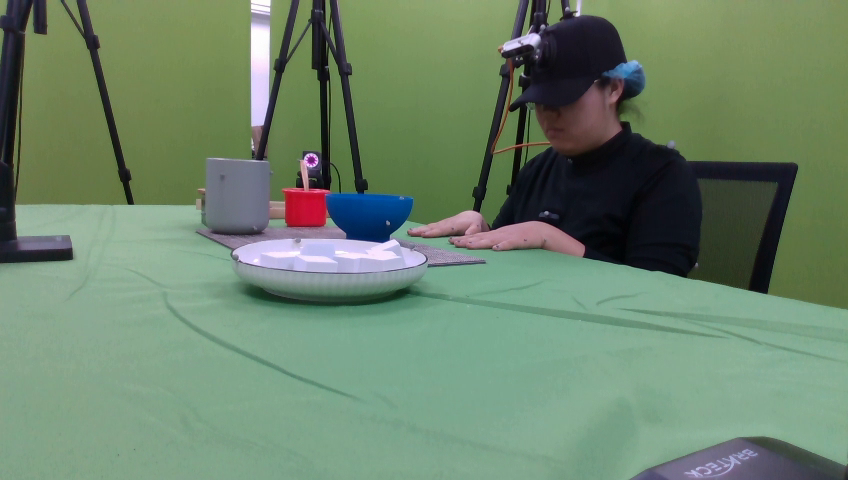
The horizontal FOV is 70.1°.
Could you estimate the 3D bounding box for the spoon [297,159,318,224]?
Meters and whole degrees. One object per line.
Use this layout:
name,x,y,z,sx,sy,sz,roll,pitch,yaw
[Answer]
spoon,-0.244,-0.103,1.251,0.042,0.021,0.193,1,51,-17

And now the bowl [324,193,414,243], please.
bowl,-0.094,-0.037,1.015,0.151,0.077,0.151,3,7,0

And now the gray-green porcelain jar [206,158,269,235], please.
gray-green porcelain jar,-0.322,-0.076,1.048,0.106,0.126,0.106,3,7,0

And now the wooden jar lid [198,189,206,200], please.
wooden jar lid,-0.382,-0.088,1.175,0.108,0.020,0.108,3,8,0

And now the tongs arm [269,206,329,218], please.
tongs arm,-0.293,-0.065,1.383,0.390,0.028,0.028,-3,7,-42

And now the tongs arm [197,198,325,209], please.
tongs arm,-0.337,-0.079,1.449,0.387,0.026,0.050,0,8,-29

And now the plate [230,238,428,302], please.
plate,-0.099,0.032,0.651,0.209,0.038,0.209,3,8,0
